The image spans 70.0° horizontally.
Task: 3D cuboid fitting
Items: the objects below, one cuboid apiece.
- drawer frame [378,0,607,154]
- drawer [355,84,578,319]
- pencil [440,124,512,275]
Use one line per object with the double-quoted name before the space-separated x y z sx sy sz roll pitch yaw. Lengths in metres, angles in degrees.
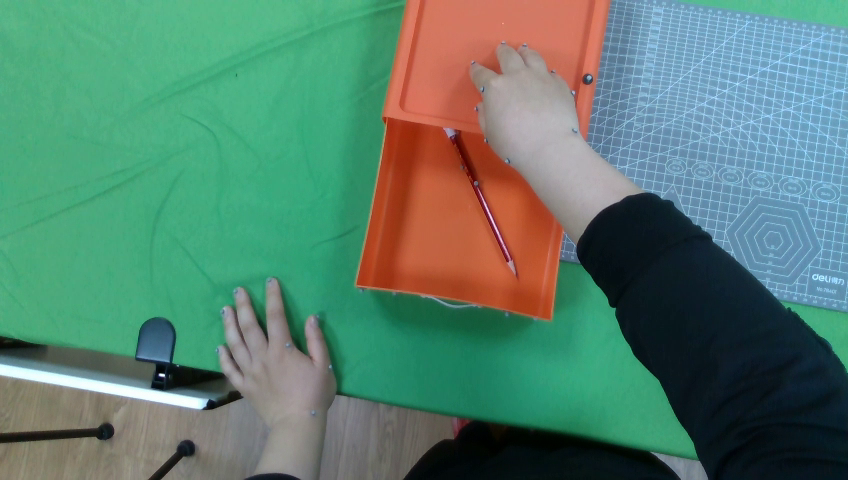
"drawer frame" 0.074 -0.200 0.623 0.201 0.083 0.213 10 85 5
"drawer" 0.046 -0.038 0.615 0.194 0.073 0.211 9 88 5
"pencil" 0.054 -0.052 0.641 0.012 0.012 0.193 -23 86 1
